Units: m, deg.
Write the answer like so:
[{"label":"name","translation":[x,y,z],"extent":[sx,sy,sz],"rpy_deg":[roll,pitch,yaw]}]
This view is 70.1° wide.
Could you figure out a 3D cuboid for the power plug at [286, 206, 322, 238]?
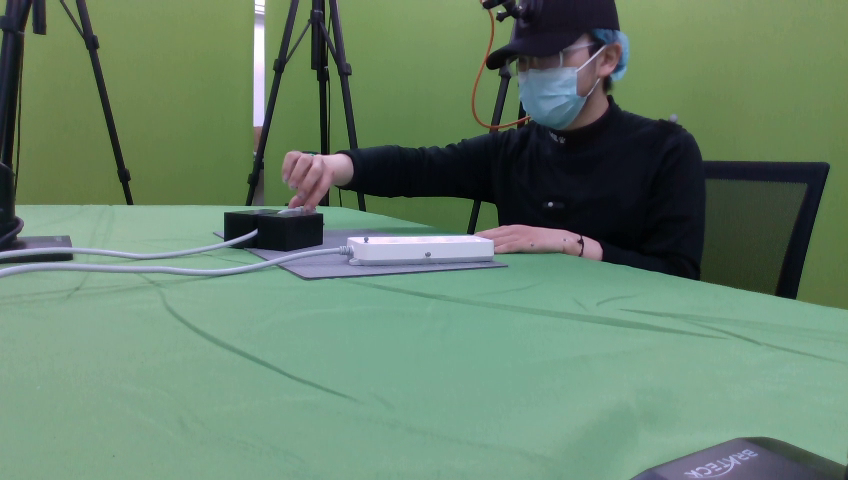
[{"label":"power plug","translation":[-0.203,-0.029,1.001],"extent":[0.073,0.052,0.035],"rpy_deg":[0,2,-40]}]

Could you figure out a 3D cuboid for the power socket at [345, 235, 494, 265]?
[{"label":"power socket","translation":[-0.003,0.012,0.851],"extent":[0.228,0.032,0.072],"rpy_deg":[-1,7,-26]}]
